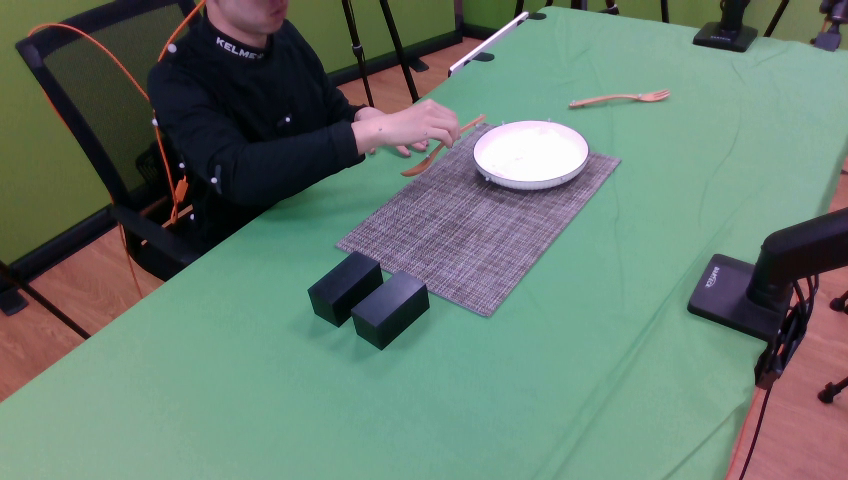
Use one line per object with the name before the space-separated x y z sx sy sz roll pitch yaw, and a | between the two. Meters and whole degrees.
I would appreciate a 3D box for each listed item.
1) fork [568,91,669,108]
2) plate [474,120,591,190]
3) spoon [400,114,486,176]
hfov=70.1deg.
fork | 0.402 -0.290 1.252 0.207 0.019 0.028 -4 47 1
plate | 0.196 -0.151 1.099 0.207 0.039 0.206 -4 40 4
spoon | 0.036 -0.163 1.026 0.194 0.022 0.041 -42 18 -17
